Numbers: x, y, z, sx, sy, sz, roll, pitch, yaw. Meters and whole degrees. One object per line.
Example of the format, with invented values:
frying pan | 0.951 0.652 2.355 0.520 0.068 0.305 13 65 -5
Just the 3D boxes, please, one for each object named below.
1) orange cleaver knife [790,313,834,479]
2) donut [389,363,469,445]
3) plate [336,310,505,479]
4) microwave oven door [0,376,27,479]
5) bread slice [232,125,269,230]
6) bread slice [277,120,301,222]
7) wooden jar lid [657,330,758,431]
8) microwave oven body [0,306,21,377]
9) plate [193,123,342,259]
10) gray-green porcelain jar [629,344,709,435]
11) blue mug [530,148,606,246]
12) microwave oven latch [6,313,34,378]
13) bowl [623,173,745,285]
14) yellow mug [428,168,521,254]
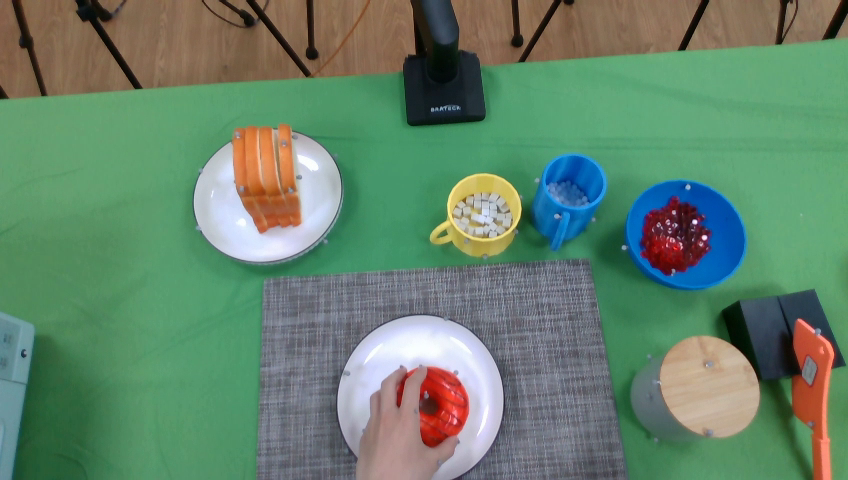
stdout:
orange cleaver knife | 0.465 0.194 0.728 0.012 0.077 0.212 -8 100 -1
donut | 0.006 0.199 0.741 0.099 0.048 0.098 0 70 2
plate | -0.003 0.192 0.756 0.209 0.038 0.207 0 70 1
microwave oven door | -0.510 0.303 0.598 0.039 0.245 0.353 -4 70 0
bread slice | -0.230 -0.090 0.808 0.018 0.135 0.106 -7 66 -3
bread slice | -0.180 -0.095 0.809 0.019 0.132 0.104 -6 71 -9
wooden jar lid | 0.304 0.152 0.656 0.108 0.021 0.107 1 71 -1
microwave oven body | -0.658 0.275 0.616 0.326 0.262 0.438 -4 70 -1
plate | -0.218 -0.067 0.858 0.208 0.039 0.206 0 70 1
gray-green porcelain jar | 0.306 0.174 0.714 0.106 0.127 0.105 0 70 1
blue mug | 0.186 -0.048 0.809 0.082 0.106 0.116 14 71 7
microwave oven latch | -0.520 0.134 0.768 0.030 0.030 0.078 -1 70 0
bowl | 0.332 -0.004 0.805 0.151 0.077 0.150 0 70 1
yellow mug | 0.065 -0.032 0.826 0.131 0.064 0.099 -26 71 -7
